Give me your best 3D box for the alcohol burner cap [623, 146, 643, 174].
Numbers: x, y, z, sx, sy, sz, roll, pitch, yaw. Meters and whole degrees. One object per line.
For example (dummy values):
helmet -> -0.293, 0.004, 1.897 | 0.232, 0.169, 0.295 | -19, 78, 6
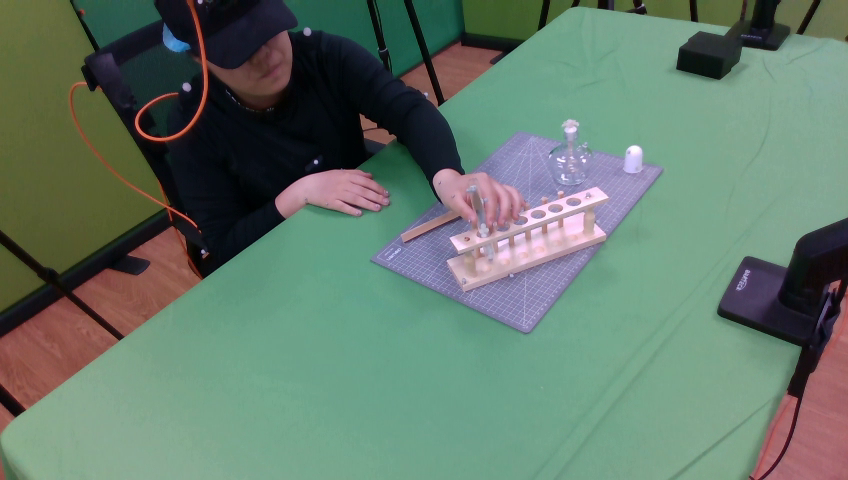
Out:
alcohol burner cap -> 0.369, -0.142, 1.061 | 0.034, 0.048, 0.033 | -6, 41, 6

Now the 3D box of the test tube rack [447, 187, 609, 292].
test tube rack -> 0.155, -0.011, 0.913 | 0.243, 0.085, 0.066 | -19, 41, -12

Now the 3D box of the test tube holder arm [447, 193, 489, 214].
test tube holder arm -> 0.078, -0.057, 1.037 | 0.088, 0.015, 0.010 | -27, 10, -17

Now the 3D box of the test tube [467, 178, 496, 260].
test tube -> 0.081, -0.026, 0.839 | 0.017, 0.151, 0.017 | -10, 44, 10

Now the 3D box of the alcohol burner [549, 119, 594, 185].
alcohol burner -> 0.254, -0.155, 1.043 | 0.078, 0.120, 0.077 | -7, 40, 6

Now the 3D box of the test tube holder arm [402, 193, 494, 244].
test tube holder arm -> 0.042, -0.037, 1.018 | 0.179, 0.015, 0.013 | -27, 10, -18
